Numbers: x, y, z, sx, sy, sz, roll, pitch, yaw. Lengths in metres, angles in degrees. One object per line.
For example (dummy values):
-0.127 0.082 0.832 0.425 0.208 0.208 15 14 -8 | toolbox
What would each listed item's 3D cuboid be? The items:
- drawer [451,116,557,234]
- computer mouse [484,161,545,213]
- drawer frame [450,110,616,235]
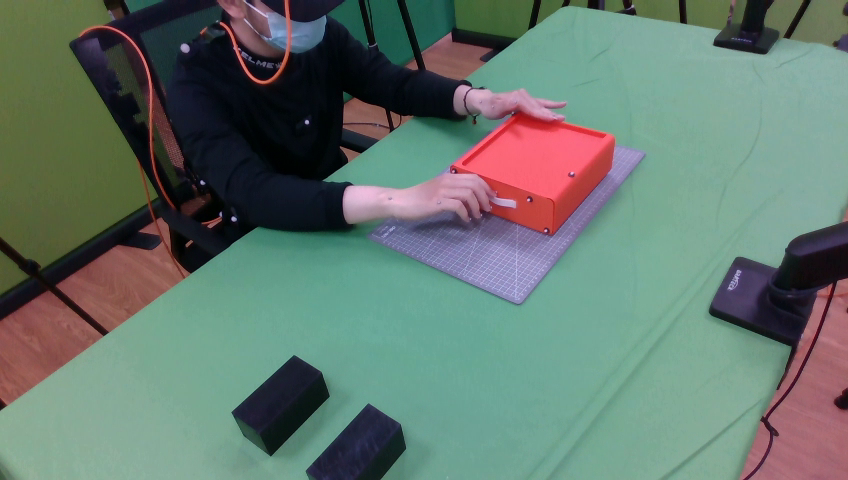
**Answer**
0.186 -0.120 1.035 0.193 0.073 0.212 23 48 32 | drawer
0.153 -0.092 1.012 0.063 0.041 0.116 -10 51 -29 | computer mouse
0.186 -0.124 1.034 0.200 0.083 0.214 23 48 31 | drawer frame
